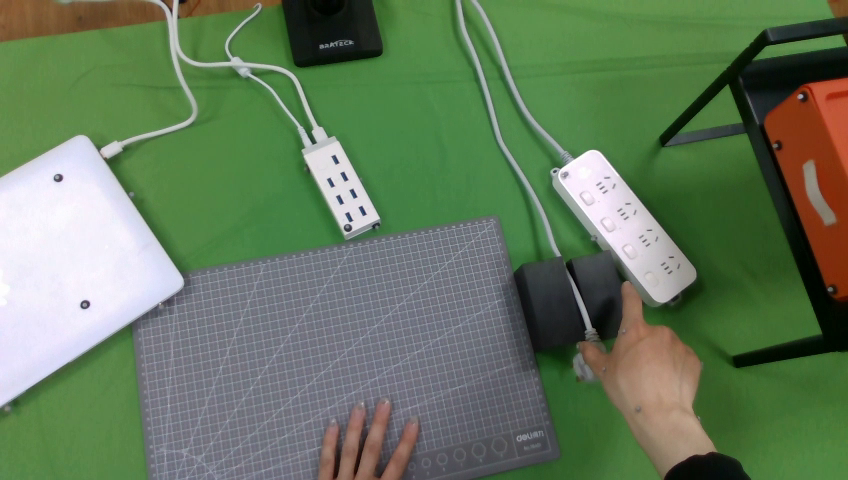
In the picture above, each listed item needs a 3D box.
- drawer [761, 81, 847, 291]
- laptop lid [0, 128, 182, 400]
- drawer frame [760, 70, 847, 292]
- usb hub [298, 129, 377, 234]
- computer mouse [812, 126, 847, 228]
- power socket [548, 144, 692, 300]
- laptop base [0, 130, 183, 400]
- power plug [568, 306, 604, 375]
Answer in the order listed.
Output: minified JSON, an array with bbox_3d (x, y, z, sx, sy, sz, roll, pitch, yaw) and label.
[{"bbox_3d":[0.468,-0.068,0.588,0.212,0.073,0.193,-11,76,-8],"label":"drawer"},{"bbox_3d":[-0.483,0.051,0.675,0.357,0.013,0.241,-34,82,-13],"label":"laptop lid"},{"bbox_3d":[0.471,-0.070,0.589,0.214,0.083,0.200,-12,76,-9],"label":"drawer frame"},{"bbox_3d":[-0.108,-0.073,0.751,0.049,0.025,0.124,-26,79,-11],"label":"usb hub"},{"bbox_3d":[0.439,-0.061,0.599,0.063,0.041,0.116,-15,75,-5],"label":"computer mouse"},{"bbox_3d":[0.248,-0.025,0.767,0.072,0.033,0.226,-33,80,-13],"label":"power socket"},{"bbox_3d":[-0.486,0.053,0.687,0.354,0.023,0.235,-35,84,-13],"label":"laptop base"},{"bbox_3d":[0.186,0.120,0.700,0.035,0.053,0.072,19,56,-16],"label":"power plug"}]
